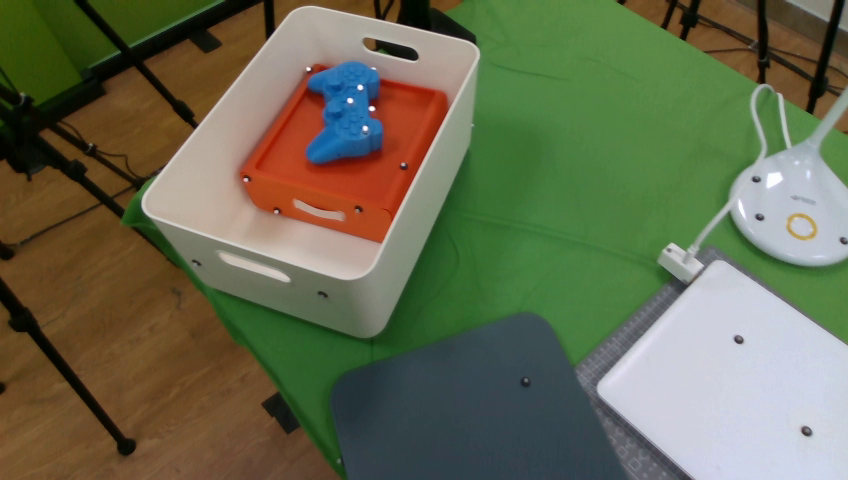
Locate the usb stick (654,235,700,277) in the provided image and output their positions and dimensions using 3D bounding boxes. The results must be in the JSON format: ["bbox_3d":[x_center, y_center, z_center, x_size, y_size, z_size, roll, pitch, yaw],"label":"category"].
[{"bbox_3d":[0.303,0.024,0.713,0.021,0.027,0.058,-33,65,-24],"label":"usb stick"}]

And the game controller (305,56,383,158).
[{"bbox_3d":[-0.102,-0.174,0.764,0.097,0.052,0.153,-2,56,-4],"label":"game controller"}]

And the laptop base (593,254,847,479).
[{"bbox_3d":[0.380,0.190,0.618,0.235,0.023,0.351,-40,64,-18],"label":"laptop base"}]

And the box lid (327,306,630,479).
[{"bbox_3d":[0.069,0.250,0.593,0.263,0.015,0.367,-17,59,-9],"label":"box lid"}]

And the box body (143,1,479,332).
[{"bbox_3d":[-0.106,-0.096,0.732,0.253,0.162,0.362,17,59,12],"label":"box body"}]

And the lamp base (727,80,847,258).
[{"bbox_3d":[0.466,-0.099,0.708,0.160,0.182,0.177,7,54,6],"label":"lamp base"}]

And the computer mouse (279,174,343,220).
[{"bbox_3d":[-0.142,-0.060,0.770,0.063,0.041,0.116,-8,17,7],"label":"computer mouse"}]

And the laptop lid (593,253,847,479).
[{"bbox_3d":[0.378,0.185,0.607,0.241,0.013,0.353,-38,63,-18],"label":"laptop lid"}]
